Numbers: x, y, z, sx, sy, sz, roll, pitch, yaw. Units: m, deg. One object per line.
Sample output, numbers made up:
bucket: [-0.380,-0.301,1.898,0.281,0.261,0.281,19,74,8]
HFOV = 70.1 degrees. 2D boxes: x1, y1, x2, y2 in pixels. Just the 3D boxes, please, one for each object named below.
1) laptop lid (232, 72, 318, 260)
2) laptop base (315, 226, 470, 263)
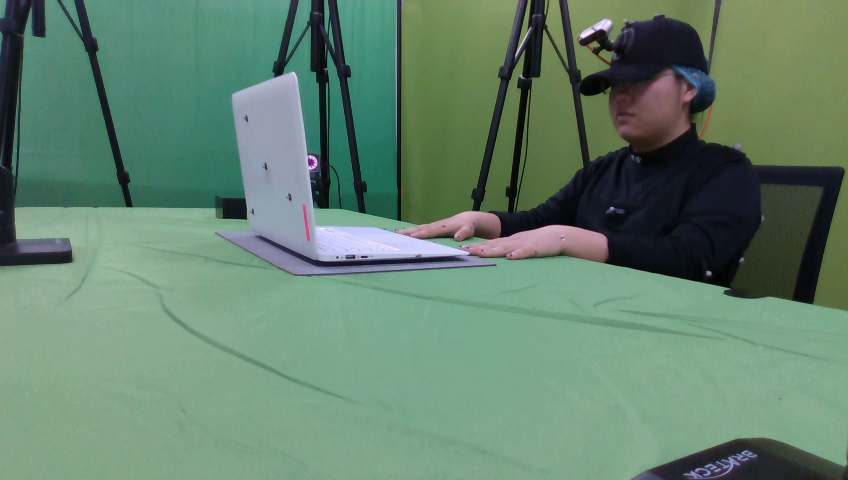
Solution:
laptop lid: [-0.229,-0.109,0.888,0.013,0.241,0.355,-10,14,-28]
laptop base: [-0.117,0.005,0.970,0.237,0.023,0.352,2,6,-30]
